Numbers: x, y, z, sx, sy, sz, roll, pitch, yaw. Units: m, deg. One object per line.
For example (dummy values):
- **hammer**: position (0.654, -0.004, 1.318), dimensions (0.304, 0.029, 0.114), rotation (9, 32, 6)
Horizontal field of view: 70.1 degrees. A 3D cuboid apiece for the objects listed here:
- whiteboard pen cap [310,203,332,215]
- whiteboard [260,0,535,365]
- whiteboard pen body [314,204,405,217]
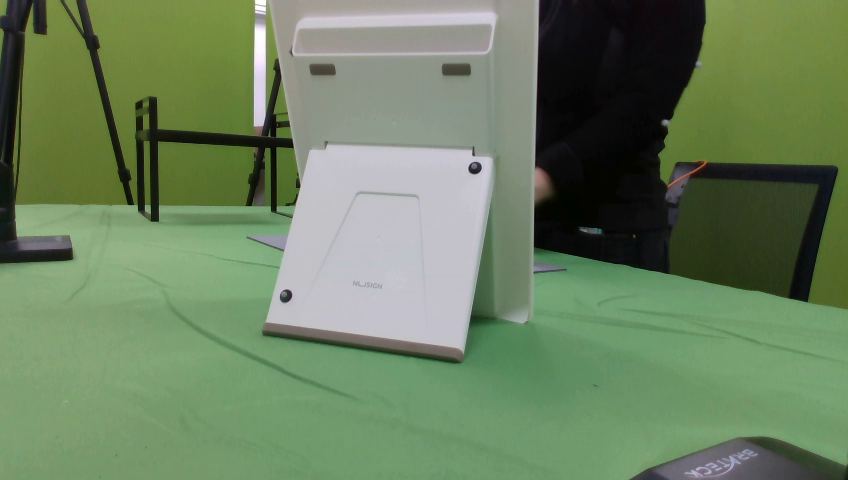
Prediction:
- **whiteboard pen cap**: position (-0.156, -0.047, 0.916), dimensions (0.033, 0.018, 0.018), rotation (3, 7, -15)
- **whiteboard**: position (-0.037, -0.041, 0.457), dimensions (0.216, 0.305, 0.144), rotation (5, 28, 19)
- **whiteboard pen body**: position (-0.098, -0.046, 0.931), dimensions (0.141, 0.017, 0.017), rotation (2, 8, -14)
